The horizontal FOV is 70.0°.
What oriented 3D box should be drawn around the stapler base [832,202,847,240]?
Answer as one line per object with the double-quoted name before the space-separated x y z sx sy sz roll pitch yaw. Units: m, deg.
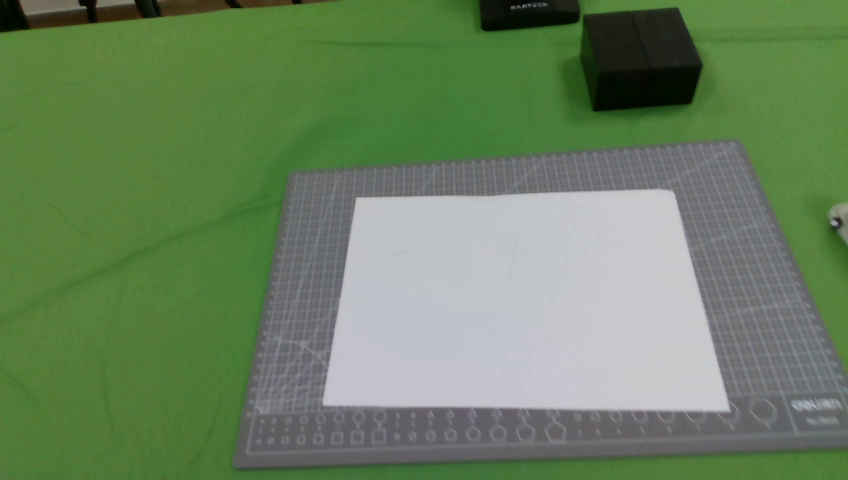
"stapler base" 0.378 0.014 0.481 0.041 0.025 0.129 -12 54 3
